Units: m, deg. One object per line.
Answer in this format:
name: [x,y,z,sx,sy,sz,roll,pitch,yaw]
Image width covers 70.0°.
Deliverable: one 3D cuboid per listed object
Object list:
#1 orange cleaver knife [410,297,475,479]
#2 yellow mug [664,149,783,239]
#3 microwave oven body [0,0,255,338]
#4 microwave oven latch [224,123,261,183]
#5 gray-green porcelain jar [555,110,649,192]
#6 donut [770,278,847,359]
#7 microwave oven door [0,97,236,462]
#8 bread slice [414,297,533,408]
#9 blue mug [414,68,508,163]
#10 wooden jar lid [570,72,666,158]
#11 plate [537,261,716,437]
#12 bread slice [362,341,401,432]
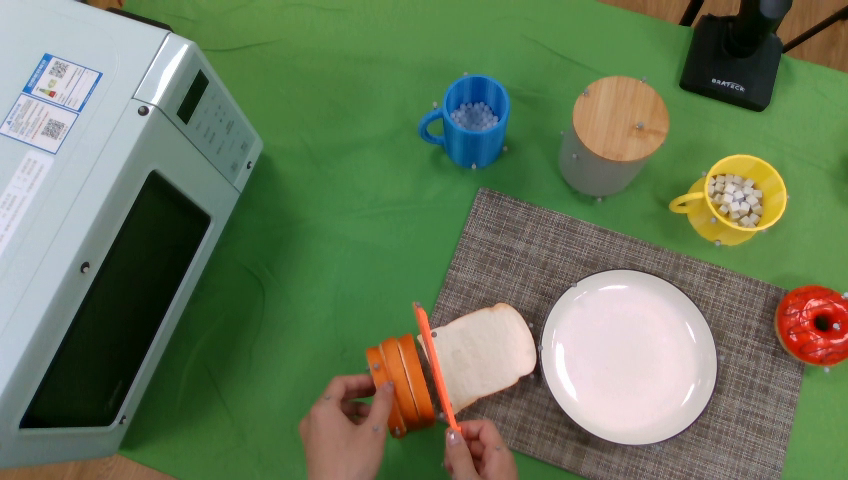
orange cleaver knife: [0.018,0.160,0.637,0.012,0.077,0.210,-16,83,-8]
yellow mug: [0.372,-0.055,0.767,0.131,0.064,0.099,-4,75,2]
microwave oven body: [-0.448,-0.031,0.681,0.325,0.261,0.440,20,77,7]
microwave oven latch: [-0.243,-0.117,0.797,0.030,0.029,0.079,23,78,7]
gray-green porcelain jar: [0.224,-0.125,0.758,0.106,0.127,0.105,0,75,2]
donut: [0.470,0.095,0.731,0.099,0.048,0.098,0,76,2]
microwave oven door: [-0.329,0.054,0.649,0.039,0.245,0.354,20,76,7]
bread slice: [0.067,0.133,0.742,0.131,0.019,0.104,-23,74,-1]
blue mug: [0.046,-0.156,0.782,0.116,0.106,0.082,-6,74,1]
wooden jar lid: [0.221,-0.142,0.698,0.108,0.021,0.107,0,73,2]
plate: [0.240,0.130,0.733,0.207,0.039,0.206,0,75,2]
bread slice: [-0.049,0.163,0.688,0.018,0.135,0.106,-18,73,-7]
